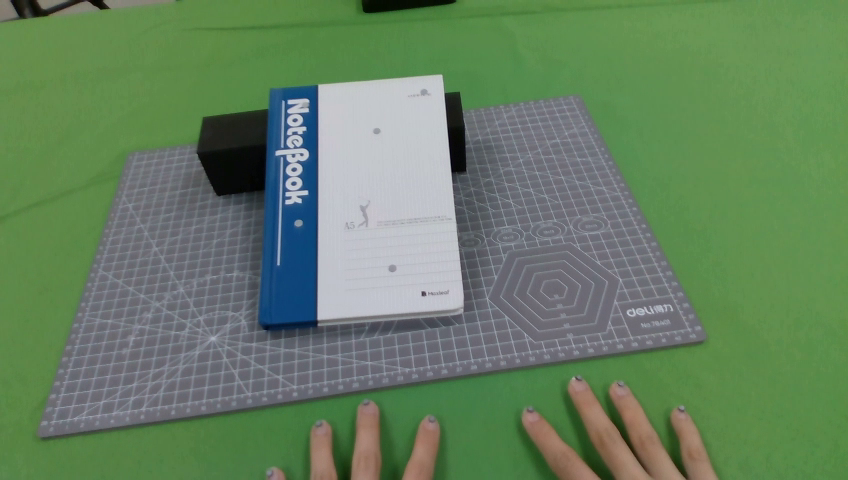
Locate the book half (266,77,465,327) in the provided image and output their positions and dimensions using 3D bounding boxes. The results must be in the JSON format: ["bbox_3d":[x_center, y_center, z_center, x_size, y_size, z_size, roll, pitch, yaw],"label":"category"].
[{"bbox_3d":[-0.047,-0.037,0.472,0.143,0.007,0.208,-4,65,1],"label":"book half"}]
